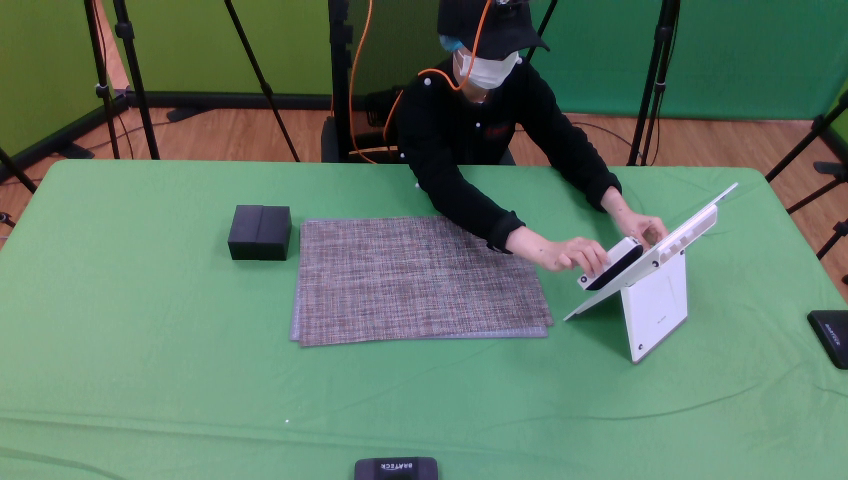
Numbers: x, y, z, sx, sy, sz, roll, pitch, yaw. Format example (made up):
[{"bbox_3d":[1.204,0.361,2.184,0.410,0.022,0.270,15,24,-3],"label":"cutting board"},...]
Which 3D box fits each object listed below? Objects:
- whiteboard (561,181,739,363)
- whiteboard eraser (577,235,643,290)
[{"bbox_3d":[0.406,0.076,1.000,0.217,0.306,0.143,-29,74,-29],"label":"whiteboard"},{"bbox_3d":[0.307,0.041,0.996,0.041,0.113,0.056,50,22,14],"label":"whiteboard eraser"}]
